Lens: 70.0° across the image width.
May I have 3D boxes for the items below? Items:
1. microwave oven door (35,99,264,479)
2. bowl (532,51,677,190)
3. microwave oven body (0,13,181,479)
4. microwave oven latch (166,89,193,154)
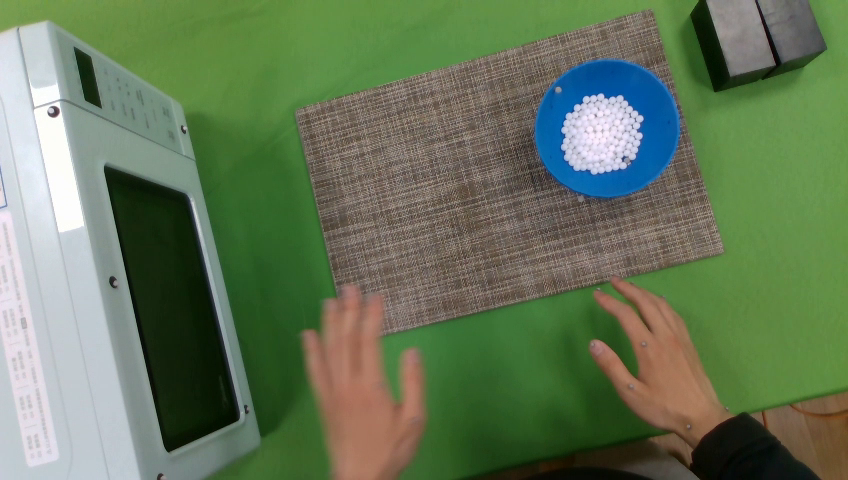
[{"bbox_3d":[-0.265,0.059,0.619,0.039,0.244,0.355,-17,84,5],"label":"microwave oven door"},{"bbox_3d":[0.194,-0.124,0.678,0.151,0.077,0.151,0,86,7],"label":"bowl"},{"bbox_3d":[-0.416,0.060,0.641,0.326,0.261,0.440,-16,85,4],"label":"microwave oven body"},{"bbox_3d":[-0.309,-0.142,0.741,0.030,0.029,0.079,-16,85,4],"label":"microwave oven latch"}]
